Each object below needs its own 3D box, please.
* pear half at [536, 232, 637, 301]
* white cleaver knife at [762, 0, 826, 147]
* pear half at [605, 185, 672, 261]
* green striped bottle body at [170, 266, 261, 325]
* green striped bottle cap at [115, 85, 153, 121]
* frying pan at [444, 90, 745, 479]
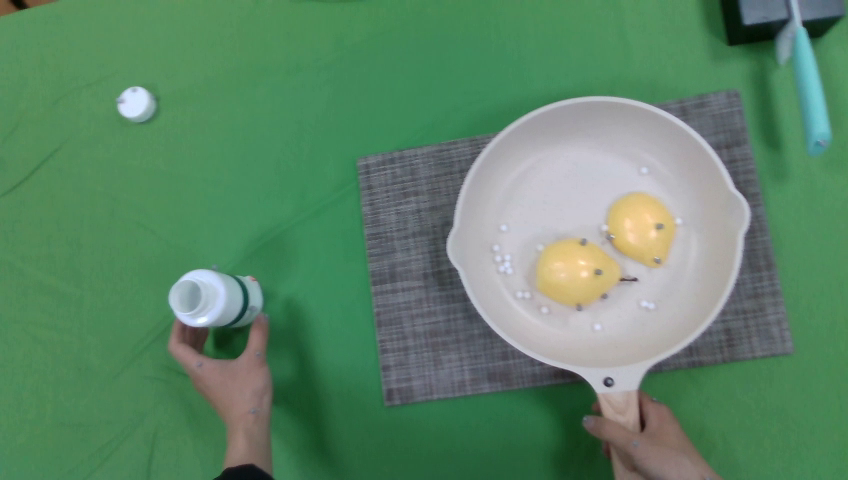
[{"bbox_3d":[0.179,0.029,0.660,0.110,0.056,0.076,3,88,7],"label":"pear half"},{"bbox_3d":[0.392,-0.238,0.661,0.021,0.066,0.285,-7,80,13],"label":"white cleaver knife"},{"bbox_3d":[0.239,-0.020,0.669,0.070,0.031,0.087,-25,77,9],"label":"pear half"},{"bbox_3d":[-0.238,0.064,0.687,0.063,0.120,0.063,-1,82,8],"label":"green striped bottle body"},{"bbox_3d":[-0.379,-0.178,0.790,0.044,0.020,0.044,-1,83,9],"label":"green striped bottle cap"},{"bbox_3d":[0.185,0.087,0.628,0.306,0.103,0.485,-7,74,8],"label":"frying pan"}]
